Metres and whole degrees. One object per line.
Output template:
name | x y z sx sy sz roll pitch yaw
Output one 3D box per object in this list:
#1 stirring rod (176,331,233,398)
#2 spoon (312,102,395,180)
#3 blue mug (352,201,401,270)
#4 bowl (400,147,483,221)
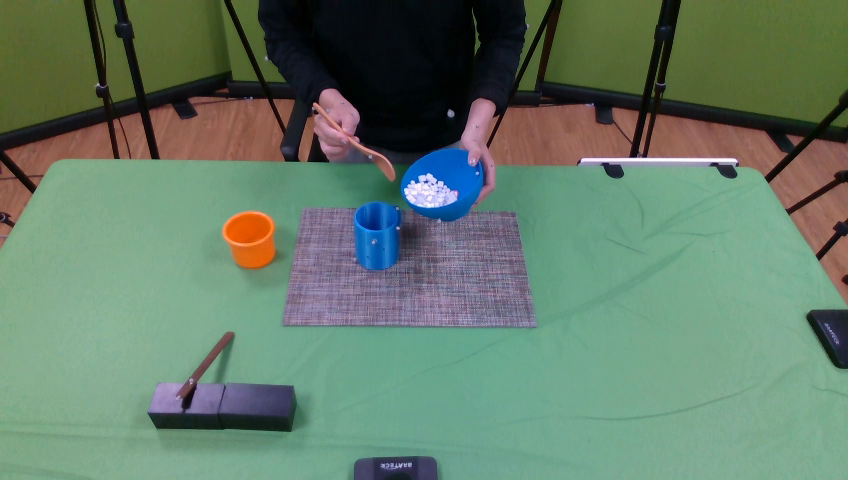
stirring rod | -0.342 0.192 0.955 0.014 0.006 0.175 3 24 7
spoon | -0.121 -0.171 1.037 0.193 0.042 0.021 39 70 1
blue mug | -0.082 -0.017 1.144 0.082 0.106 0.116 30 51 22
bowl | 0.039 -0.087 1.084 0.151 0.077 0.150 -12 47 13
